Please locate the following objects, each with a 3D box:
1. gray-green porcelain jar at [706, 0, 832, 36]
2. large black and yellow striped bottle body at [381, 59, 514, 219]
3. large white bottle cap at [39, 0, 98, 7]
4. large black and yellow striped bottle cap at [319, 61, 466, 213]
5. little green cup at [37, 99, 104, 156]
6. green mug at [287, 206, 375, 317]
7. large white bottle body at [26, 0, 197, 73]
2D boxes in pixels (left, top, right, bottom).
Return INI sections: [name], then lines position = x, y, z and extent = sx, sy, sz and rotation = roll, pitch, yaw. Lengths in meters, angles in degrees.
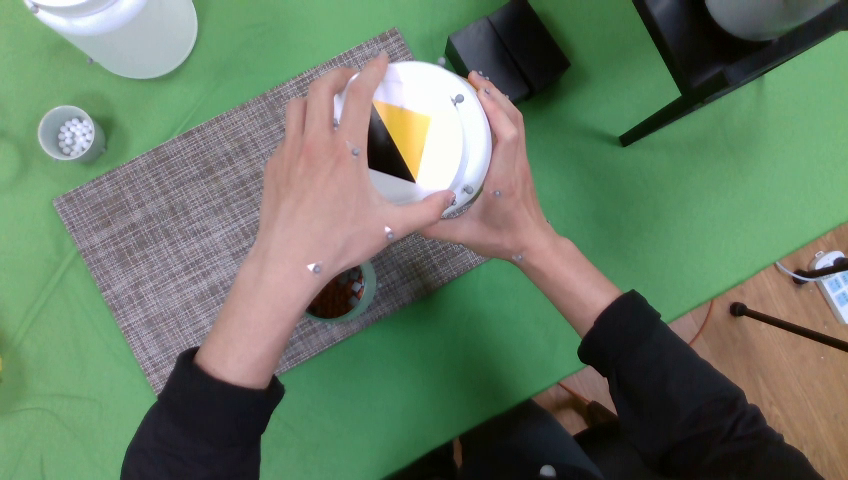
[gray-green porcelain jar]
position = 0.311, -0.243, 0.517
extent = 0.106, 0.126, 0.105
rotation = 0, 87, -3
[large black and yellow striped bottle body]
position = 0.001, -0.089, 0.541
extent = 0.130, 0.184, 0.131
rotation = 3, 100, 18
[large white bottle cap]
position = -0.322, -0.267, 0.540
extent = 0.115, 0.018, 0.114
rotation = 0, 88, -4
[large black and yellow striped bottle cap]
position = -0.026, -0.078, 0.462
extent = 0.114, 0.019, 0.115
rotation = 3, 101, 15
[little green cup]
position = -0.398, -0.125, 0.687
extent = 0.061, 0.038, 0.061
rotation = 0, 88, -5
[green mug]
position = -0.105, 0.024, 0.664
extent = 0.092, 0.105, 0.125
rotation = -12, 88, -4
[large white bottle body]
position = -0.327, -0.263, 0.624
extent = 0.131, 0.184, 0.130
rotation = 0, 87, -3
